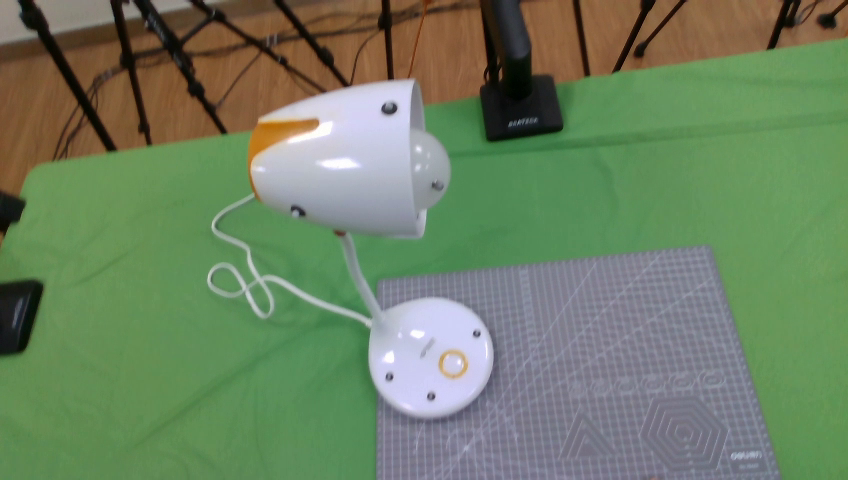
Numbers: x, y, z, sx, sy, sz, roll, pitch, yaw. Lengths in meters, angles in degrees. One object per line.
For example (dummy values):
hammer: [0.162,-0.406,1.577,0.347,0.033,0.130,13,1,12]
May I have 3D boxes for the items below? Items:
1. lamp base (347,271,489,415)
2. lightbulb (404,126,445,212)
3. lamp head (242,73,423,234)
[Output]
lamp base: [-0.021,0.103,0.710,0.178,0.182,0.160,16,65,22]
lightbulb: [-0.039,-0.046,0.422,0.107,0.060,0.059,-5,61,9]
lamp head: [-0.062,-0.056,0.429,0.123,0.113,0.111,-3,61,10]
